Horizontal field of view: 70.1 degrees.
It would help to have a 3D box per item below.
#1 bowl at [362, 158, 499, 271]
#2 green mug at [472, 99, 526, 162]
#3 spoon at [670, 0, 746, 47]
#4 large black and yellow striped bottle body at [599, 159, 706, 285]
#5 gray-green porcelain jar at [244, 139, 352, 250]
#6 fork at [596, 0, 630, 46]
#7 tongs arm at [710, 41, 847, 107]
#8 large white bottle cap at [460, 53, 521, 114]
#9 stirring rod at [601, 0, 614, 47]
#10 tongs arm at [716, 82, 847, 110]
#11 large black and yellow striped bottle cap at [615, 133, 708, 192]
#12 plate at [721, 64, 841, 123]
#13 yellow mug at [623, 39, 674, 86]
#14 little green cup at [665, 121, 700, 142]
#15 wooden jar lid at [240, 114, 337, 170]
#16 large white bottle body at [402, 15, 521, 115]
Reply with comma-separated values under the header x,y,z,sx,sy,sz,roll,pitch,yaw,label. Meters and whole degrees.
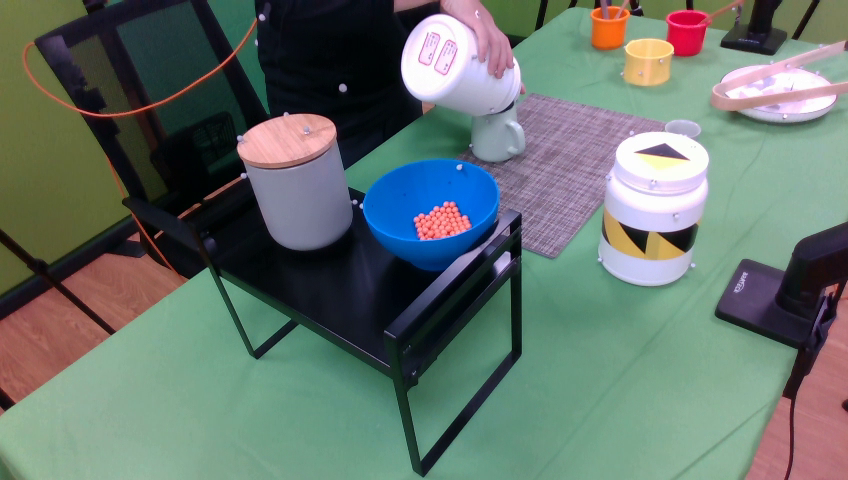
x,y,z,sx,sy,sz,roll,pitch,yaw,label
0.011,-0.019,0.679,0.151,0.077,0.150,-5,41,4,bowl
0.144,-0.202,1.122,0.093,0.105,0.124,-29,45,-23,green mug
0.629,-0.484,1.350,0.022,0.193,0.042,48,54,-7,spoon
0.320,-0.042,0.854,0.131,0.185,0.130,-4,41,4,large black and yellow striped bottle body
-0.144,-0.060,0.714,0.106,0.127,0.105,-4,41,4,gray-green porcelain jar
0.481,-0.556,1.453,0.028,0.019,0.207,40,103,38,fork
0.712,-0.332,1.194,0.386,0.026,0.050,-18,44,-16,tongs arm
0.125,-0.293,1.136,0.115,0.115,0.018,-2,36,6,large white bottle cap
0.439,-0.552,1.463,0.014,0.006,0.175,-7,83,3,stirring rod
0.738,-0.282,1.134,0.388,0.028,0.028,-9,46,-5,tongs arm
0.312,-0.105,0.798,0.115,0.019,0.114,-5,41,5,large black and yellow striped bottle cap
0.695,-0.282,1.189,0.207,0.039,0.206,-4,40,4,plate
0.484,-0.398,1.334,0.100,0.064,0.130,-18,41,-11,yellow mug
0.473,-0.188,1.113,0.061,0.039,0.061,-5,40,5,little green cup
-0.149,-0.106,0.673,0.108,0.021,0.108,-6,38,5,wooden jar lid
0.068,-0.280,0.999,0.129,0.130,0.186,30,18,36,large white bottle body
